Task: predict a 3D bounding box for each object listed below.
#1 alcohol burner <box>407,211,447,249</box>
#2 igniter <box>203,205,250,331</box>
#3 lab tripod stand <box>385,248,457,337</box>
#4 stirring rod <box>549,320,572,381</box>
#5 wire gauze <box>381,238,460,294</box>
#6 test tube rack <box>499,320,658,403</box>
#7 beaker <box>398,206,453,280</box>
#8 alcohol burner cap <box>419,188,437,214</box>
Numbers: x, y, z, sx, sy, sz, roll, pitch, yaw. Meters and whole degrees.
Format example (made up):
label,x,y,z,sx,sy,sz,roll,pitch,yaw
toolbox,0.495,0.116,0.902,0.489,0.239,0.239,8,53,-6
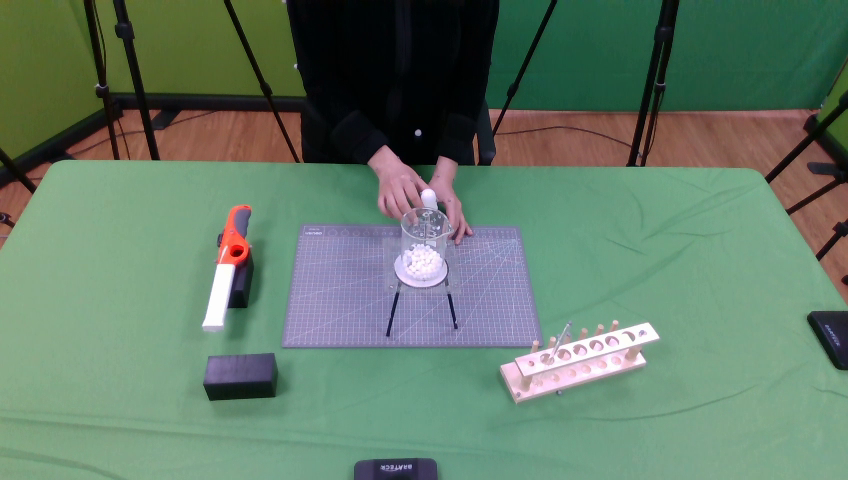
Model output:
label,x,y,z,sx,sy,sz,roll,pitch,yaw
alcohol burner,0.006,-0.040,1.170,0.078,0.120,0.077,1,46,-1
igniter,-0.345,0.039,1.065,0.057,0.025,0.274,2,48,-6
lab tripod stand,-0.010,0.087,1.032,0.148,0.132,0.147,1,45,-1
stirring rod,0.202,0.167,0.901,0.006,0.177,0.014,-17,55,-11
wire gauze,-0.007,0.042,0.985,0.125,0.011,0.120,-1,43,-2
test tube rack,0.252,0.187,0.994,0.243,0.085,0.066,-12,48,-15
beaker,0.000,0.008,0.950,0.084,0.101,0.073,10,45,6
alcohol burner cap,0.007,-0.075,1.131,0.034,0.048,0.033,-2,47,3
